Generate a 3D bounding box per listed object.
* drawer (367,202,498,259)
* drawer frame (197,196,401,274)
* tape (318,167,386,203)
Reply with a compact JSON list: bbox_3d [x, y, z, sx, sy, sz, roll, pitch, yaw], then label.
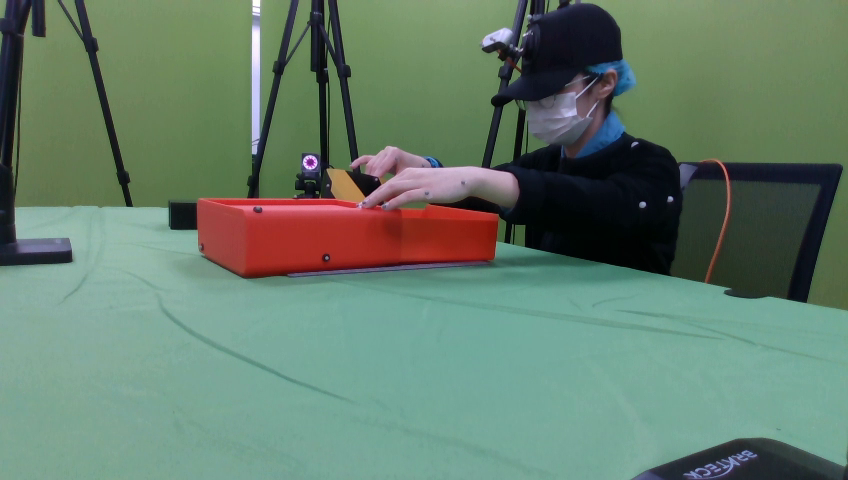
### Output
[{"bbox_3d":[-0.029,-0.018,0.917,0.213,0.073,0.193,-1,9,-34],"label":"drawer"},{"bbox_3d":[-0.171,-0.015,0.819,0.215,0.082,0.200,-4,10,-35],"label":"drawer frame"},{"bbox_3d":[-0.123,-0.089,1.043,0.117,0.052,0.117,10,0,0],"label":"tape"}]
